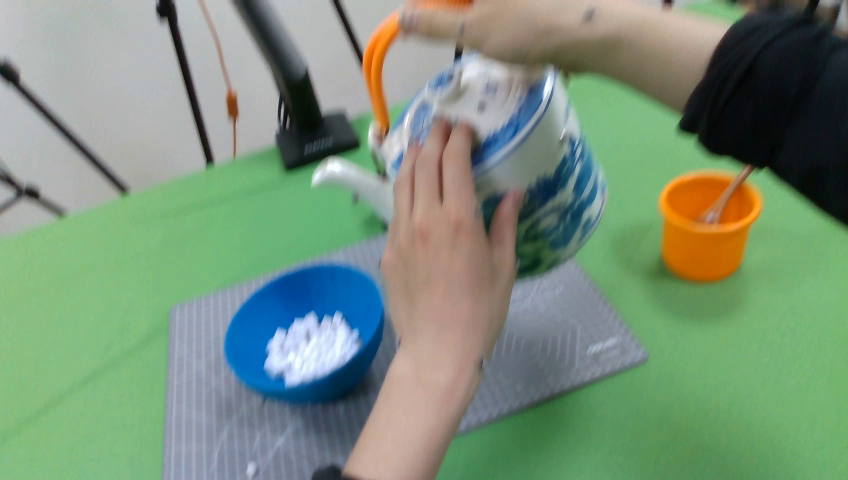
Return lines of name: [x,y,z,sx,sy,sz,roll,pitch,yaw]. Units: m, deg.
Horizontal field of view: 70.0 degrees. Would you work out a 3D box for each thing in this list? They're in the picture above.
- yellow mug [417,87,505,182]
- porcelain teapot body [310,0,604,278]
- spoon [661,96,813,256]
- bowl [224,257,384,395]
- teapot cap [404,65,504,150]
yellow mug: [0.041,-0.122,0.729,0.099,0.064,0.130,4,45,20]
porcelain teapot body: [0.016,-0.067,0.481,0.205,0.228,0.143,-27,43,17]
spoon: [0.306,-0.060,0.594,0.022,0.194,0.041,19,26,-32]
bowl: [-0.104,0.095,0.583,0.151,0.077,0.150,-8,40,7]
teapot cap: [0.019,-0.101,0.446,0.085,0.044,0.084,-23,43,24]
